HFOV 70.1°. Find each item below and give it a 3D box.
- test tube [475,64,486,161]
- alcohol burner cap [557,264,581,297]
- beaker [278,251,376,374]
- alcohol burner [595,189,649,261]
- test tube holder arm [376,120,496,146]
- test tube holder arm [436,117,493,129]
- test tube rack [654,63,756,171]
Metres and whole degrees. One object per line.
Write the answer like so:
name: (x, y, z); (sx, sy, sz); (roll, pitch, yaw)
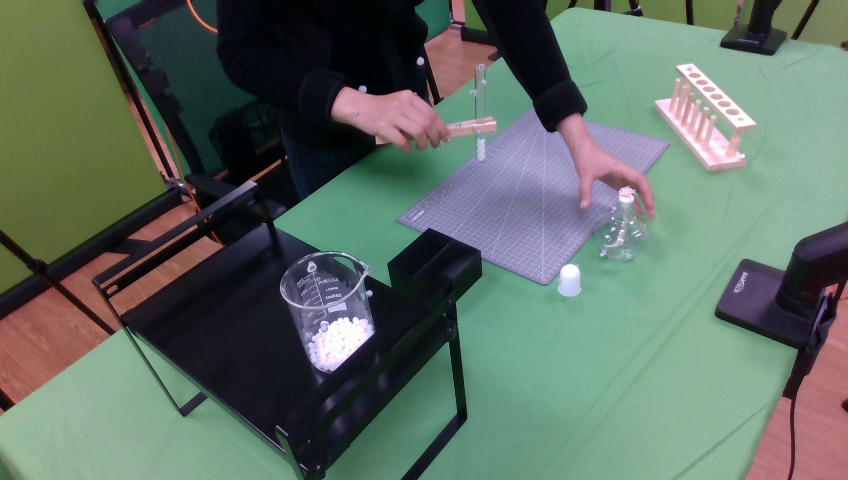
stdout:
test tube: (0.083, -0.183, 0.884); (0.017, 0.151, 0.017); (-3, 36, 3)
alcohol burner cap: (0.208, 0.055, 0.866); (0.034, 0.048, 0.033); (-4, 42, 4)
beaker: (-0.084, 0.070, 0.569); (0.084, 0.101, 0.073); (-18, 42, -13)
alcohol burner: (0.294, -0.028, 0.894); (0.078, 0.119, 0.077); (-4, 43, 5)
test tube holder arm: (0.019, -0.156, 0.877); (0.179, 0.015, 0.013); (-10, 29, -11)
test tube holder arm: (0.060, -0.167, 0.892); (0.088, 0.015, 0.010); (-13, 30, -16)
test tube rack: (0.510, -0.233, 1.120); (0.067, 0.085, 0.241); (-8, 41, -1)
